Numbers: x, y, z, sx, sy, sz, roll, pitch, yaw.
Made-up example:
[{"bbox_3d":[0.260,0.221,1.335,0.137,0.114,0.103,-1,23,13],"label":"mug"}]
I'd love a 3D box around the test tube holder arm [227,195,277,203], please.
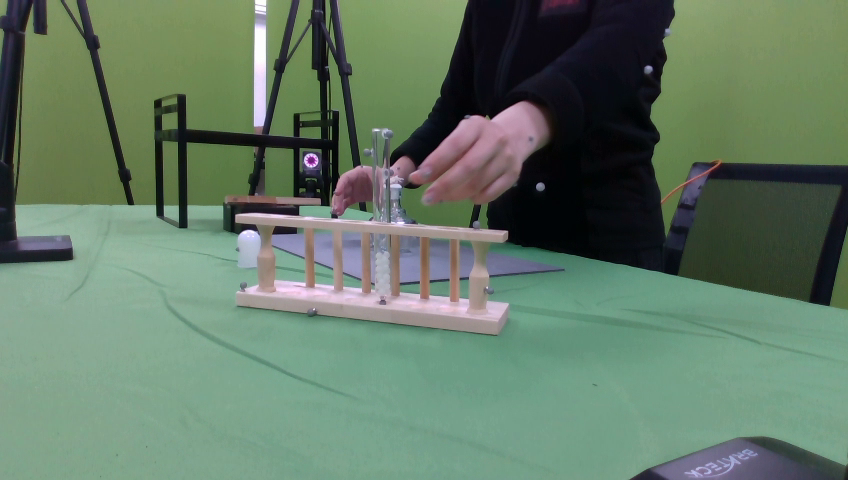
[{"bbox_3d":[-0.309,-0.074,1.088,0.088,0.015,0.010,-2,-7,-34],"label":"test tube holder arm"}]

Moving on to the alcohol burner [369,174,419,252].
[{"bbox_3d":[-0.047,-0.041,0.922,0.078,0.119,0.078,1,9,0],"label":"alcohol burner"}]

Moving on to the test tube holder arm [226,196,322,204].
[{"bbox_3d":[-0.274,-0.074,1.118,0.179,0.015,0.013,-2,-7,-34],"label":"test tube holder arm"}]

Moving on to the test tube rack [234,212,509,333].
[{"bbox_3d":[-0.047,0.023,0.547,0.242,0.085,0.067,4,8,15],"label":"test tube rack"}]

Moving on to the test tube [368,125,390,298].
[{"bbox_3d":[-0.038,-0.023,0.519,0.017,0.150,0.017,0,12,0],"label":"test tube"}]

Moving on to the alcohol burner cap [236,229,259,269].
[{"bbox_3d":[-0.221,0.010,0.759,0.034,0.048,0.034,-1,11,0],"label":"alcohol burner cap"}]
